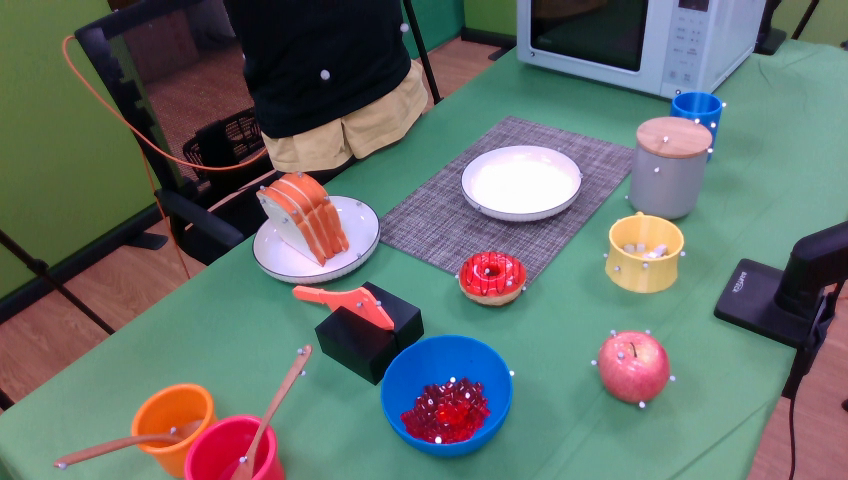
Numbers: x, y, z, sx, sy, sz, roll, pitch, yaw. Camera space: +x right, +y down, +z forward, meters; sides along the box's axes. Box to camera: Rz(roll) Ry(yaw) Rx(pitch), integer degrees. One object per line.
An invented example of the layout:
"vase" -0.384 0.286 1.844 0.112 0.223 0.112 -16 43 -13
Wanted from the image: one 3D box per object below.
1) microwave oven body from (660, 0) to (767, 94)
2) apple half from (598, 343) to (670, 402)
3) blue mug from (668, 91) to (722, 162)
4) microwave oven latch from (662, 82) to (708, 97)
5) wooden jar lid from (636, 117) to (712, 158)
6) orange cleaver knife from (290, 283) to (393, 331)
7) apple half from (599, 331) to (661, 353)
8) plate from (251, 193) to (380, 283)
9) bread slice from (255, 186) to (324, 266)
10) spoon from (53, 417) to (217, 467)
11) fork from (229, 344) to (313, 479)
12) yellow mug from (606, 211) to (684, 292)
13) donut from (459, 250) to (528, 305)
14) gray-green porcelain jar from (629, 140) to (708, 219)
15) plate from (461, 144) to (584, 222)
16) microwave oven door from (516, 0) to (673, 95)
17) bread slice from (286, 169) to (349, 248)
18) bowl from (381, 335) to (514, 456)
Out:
"microwave oven body" 0.473 -0.516 1.313 0.438 0.261 0.327 26 51 34
"apple half" 0.247 0.161 0.710 0.081 0.075 0.053 2 47 5
"blue mug" 0.474 -0.207 1.078 0.082 0.106 0.116 4 42 13
"microwave oven latch" 0.517 -0.298 1.202 0.078 0.029 0.030 27 52 34
"wooden jar lid" 0.377 -0.151 0.917 0.108 0.021 0.108 -2 42 2
"orange cleaver knife" -0.118 0.091 0.835 0.209 0.077 0.012 1 34 48
"apple half" 0.249 0.134 0.738 0.081 0.081 0.032 -1 46 7
"plate" -0.173 -0.001 0.985 0.209 0.038 0.208 -4 41 4
"bread slice" -0.211 -0.027 0.936 0.106 0.135 0.018 27 62 35
"spoon" -0.308 0.219 0.663 0.041 0.195 0.021 24 94 29
"fork" -0.173 0.205 0.662 0.028 0.019 0.207 29 94 36
"yellow mug" 0.318 0.008 0.883 0.100 0.064 0.130 0 40 9
"donut" 0.100 0.053 0.872 0.099 0.048 0.098 -5 41 4
"gray-green porcelain jar" 0.383 -0.105 0.958 0.106 0.127 0.105 -4 41 4
"plate" 0.168 -0.095 1.040 0.207 0.039 0.206 -4 40 4
"microwave oven door" 0.344 -0.458 1.256 0.353 0.245 0.039 26 51 33
"bread slice" -0.170 -0.054 0.960 0.019 0.132 0.104 -41 50 -22
"bowl" 0.029 0.192 0.701 0.151 0.077 0.150 -4 40 4
